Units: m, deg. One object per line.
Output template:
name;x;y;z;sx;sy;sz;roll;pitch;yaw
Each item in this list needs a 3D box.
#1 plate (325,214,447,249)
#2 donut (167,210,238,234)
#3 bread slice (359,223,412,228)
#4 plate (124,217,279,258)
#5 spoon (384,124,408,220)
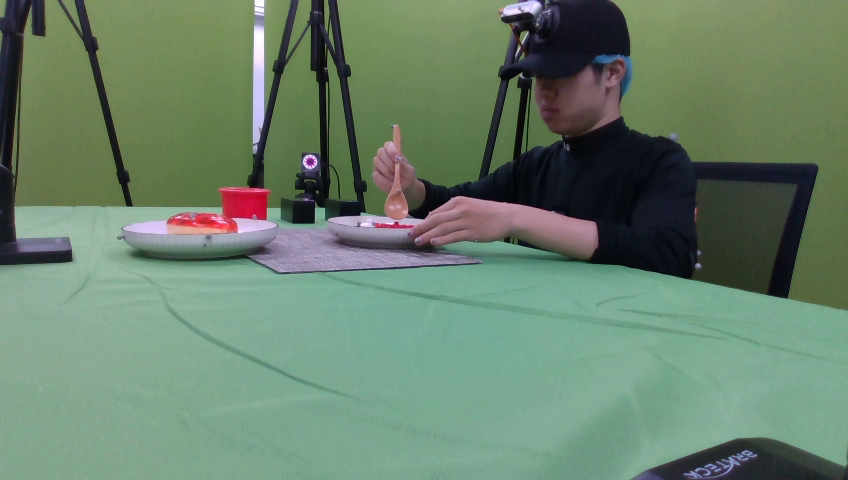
plate;-0.066;-0.015;1.035;0.209;0.038;0.209;3;8;0
donut;-0.321;-0.017;0.882;0.099;0.048;0.099;3;6;0
bread slice;-0.062;-0.012;1.035;0.105;0.019;0.131;0;10;-19
plate;-0.315;-0.004;0.871;0.208;0.039;0.207;1;8;0
spoon;-0.048;-0.121;1.055;0.042;0.193;0.021;3;-21;-7
